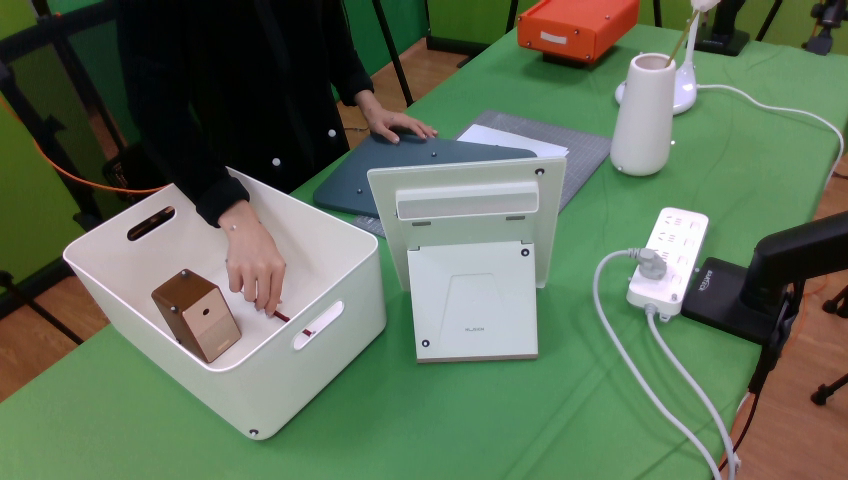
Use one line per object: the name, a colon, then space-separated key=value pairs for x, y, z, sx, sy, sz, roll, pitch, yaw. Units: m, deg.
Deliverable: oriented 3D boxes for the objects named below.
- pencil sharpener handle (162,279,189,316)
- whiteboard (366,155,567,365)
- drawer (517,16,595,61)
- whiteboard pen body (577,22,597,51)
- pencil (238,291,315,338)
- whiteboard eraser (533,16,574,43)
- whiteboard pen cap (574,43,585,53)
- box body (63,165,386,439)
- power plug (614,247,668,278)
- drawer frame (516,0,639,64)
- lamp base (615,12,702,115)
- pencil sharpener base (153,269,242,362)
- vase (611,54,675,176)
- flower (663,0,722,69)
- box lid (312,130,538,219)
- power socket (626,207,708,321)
pencil sharpener handle: x=-0.350 y=0.077 z=0.841 sx=0.030 sy=0.068 sz=0.036 roll=22 pitch=47 yaw=32
whiteboard: x=0.059 y=0.050 z=0.738 sx=0.217 sy=0.307 sz=0.143 roll=-3 pitch=60 yaw=5
drawer: x=0.353 y=-0.505 z=1.404 sx=0.193 sy=0.073 sz=0.212 roll=25 pitch=50 yaw=33
whiteboard pen body: x=0.372 y=-0.468 z=1.390 sx=0.017 sy=0.017 sz=0.141 roll=14 pitch=47 yaw=23
pencil: x=-0.207 y=0.111 z=0.873 sx=0.192 sy=0.012 sz=0.012 roll=24 pitch=49 yaw=31
whiteboard eraser: x=0.305 y=-0.493 z=1.422 sx=0.055 sy=0.042 sz=0.113 roll=27 pitch=43 yaw=25
whiteboard pen cap: x=0.346 y=-0.430 z=1.350 sx=0.018 sy=0.018 sz=0.033 roll=16 pitch=38 yaw=24
box body: x=-0.257 y=0.068 z=0.824 sx=0.361 sy=0.161 sz=0.255 roll=24 pitch=49 yaw=31
power plug: x=0.306 y=0.031 z=0.851 sx=0.072 sy=0.053 sz=0.035 roll=24 pitch=49 yaw=33
drawer frame: x=0.356 y=-0.507 z=1.410 sx=0.200 sy=0.083 sz=0.214 roll=25 pitch=52 yaw=32
lamp base: x=0.484 y=-0.364 z=1.211 sx=0.180 sy=0.181 sz=0.159 roll=-15 pitch=41 yaw=-14
pencil sharpener base: x=-0.308 y=0.103 z=0.824 sx=0.076 sy=0.107 sz=0.061 roll=22 pitch=50 yaw=32
vase: x=0.377 y=-0.209 z=1.031 sx=0.098 sy=0.201 sz=0.097 roll=-3 pitch=40 yaw=3
flower: x=0.379 y=-0.261 z=0.965 sx=0.044 sy=0.362 sz=0.038 roll=21 pitch=53 yaw=5
box lid: x=0.007 y=-0.113 z=1.114 sx=0.369 sy=0.015 sz=0.263 roll=11 pitch=44 yaw=21
power socket: x=0.359 y=0.025 z=0.886 sx=0.072 sy=0.033 sz=0.227 roll=16 pitch=46 yaw=26
